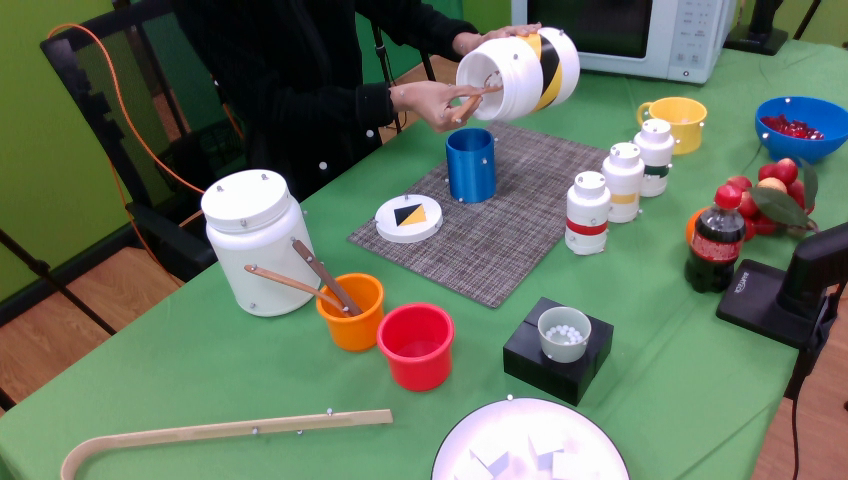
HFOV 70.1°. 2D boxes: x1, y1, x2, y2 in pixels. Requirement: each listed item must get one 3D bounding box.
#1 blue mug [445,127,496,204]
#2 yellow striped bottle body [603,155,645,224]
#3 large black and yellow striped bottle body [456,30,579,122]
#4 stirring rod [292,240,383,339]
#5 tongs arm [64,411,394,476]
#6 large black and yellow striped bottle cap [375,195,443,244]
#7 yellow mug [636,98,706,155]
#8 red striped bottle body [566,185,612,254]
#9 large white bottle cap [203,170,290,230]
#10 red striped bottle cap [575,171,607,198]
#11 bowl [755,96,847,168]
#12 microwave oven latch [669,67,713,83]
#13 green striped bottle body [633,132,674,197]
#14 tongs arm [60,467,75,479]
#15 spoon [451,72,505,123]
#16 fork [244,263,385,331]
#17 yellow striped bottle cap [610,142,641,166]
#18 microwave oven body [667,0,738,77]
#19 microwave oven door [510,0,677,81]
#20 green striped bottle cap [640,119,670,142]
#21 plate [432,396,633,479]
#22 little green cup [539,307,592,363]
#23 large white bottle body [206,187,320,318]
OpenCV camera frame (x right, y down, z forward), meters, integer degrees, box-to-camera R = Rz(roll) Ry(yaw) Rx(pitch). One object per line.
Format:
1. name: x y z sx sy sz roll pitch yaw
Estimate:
1. blue mug: 0.082 -0.139 1.058 0.082 0.106 0.116 -2 41 6
2. yellow striped bottle body: 0.314 -0.091 0.958 0.063 0.121 0.062 -4 40 4
3. large black and yellow striped bottle body: 0.155 -0.271 1.005 0.185 0.131 0.129 -25 41 -36
4. stirring rod: -0.118 0.068 0.826 0.176 0.006 0.014 49 60 -4
5. tongs arm: -0.228 0.241 0.715 0.385 0.026 0.050 -5 43 4
6. large black and yellow striped bottle cap: -0.026 -0.036 1.022 0.115 0.019 0.114 -4 41 4
7. yellow mug: 0.453 -0.217 1.128 0.100 0.064 0.129 -34 46 -27
8. red striped bottle body: 0.248 -0.041 0.910 0.063 0.120 0.062 -4 41 4
9. large white bottle cap: -0.241 -0.056 0.822 0.115 0.018 0.114 -4 40 4
10. red striped bottle cap: 0.242 -0.082 0.876 0.044 0.018 0.044 -5 44 5
11. bowl: 0.645 -0.177 1.041 0.151 0.077 0.150 -5 40 4
12. microwave oven latch: 0.556 -0.348 1.262 0.078 0.029 0.030 15 46 26
13. green striped bottle body: 0.376 -0.135 1.001 0.063 0.120 0.063 -5 41 5
14. tongs arm: -0.239 0.301 0.648 0.386 0.028 0.028 6 49 16
15. spoon: 0.086 -0.229 0.962 0.041 0.022 0.194 22 40 19
16. fork: -0.142 0.077 0.807 0.209 0.018 0.028 30 42 -24
17. yellow striped bottle cap: 0.308 -0.131 0.925 0.044 0.019 0.044 -4 45 5
18. microwave oven body: 0.462 -0.552 1.369 0.439 0.261 0.326 15 45 26
19. microwave oven door: 0.354 -0.478 1.290 0.353 0.245 0.039 15 45 25
20. green striped bottle cap: 0.371 -0.175 0.968 0.044 0.020 0.044 -3 41 4
21. plate: 0.112 0.261 0.634 0.209 0.038 0.208 -5 40 4
22. little green cup: 0.168 0.115 0.721 0.061 0.039 0.061 -4 42 4
23. large white bottle body: -0.233 0.008 0.876 0.130 0.185 0.130 -4 40 4
